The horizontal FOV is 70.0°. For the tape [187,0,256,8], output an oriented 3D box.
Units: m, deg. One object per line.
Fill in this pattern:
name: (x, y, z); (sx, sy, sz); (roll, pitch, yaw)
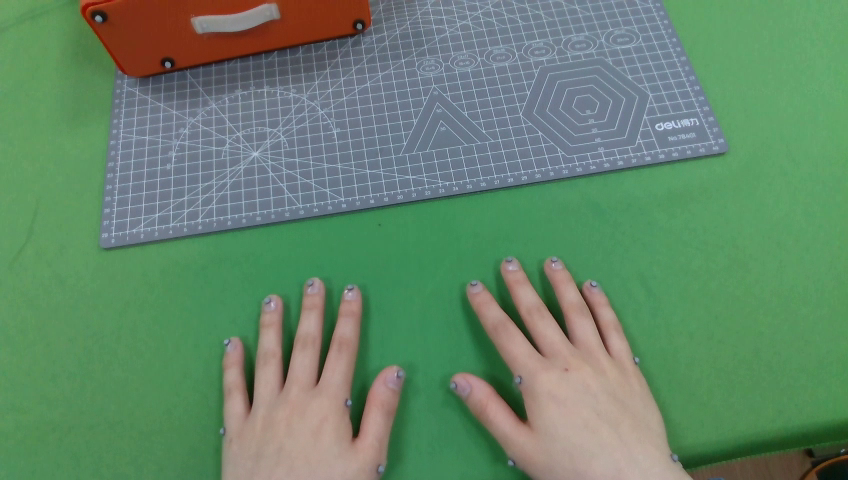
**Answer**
tape: (-0.165, -0.253, 0.504); (0.117, 0.053, 0.116); (-1, 64, 2)

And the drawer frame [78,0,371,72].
drawer frame: (-0.163, -0.255, 0.496); (0.202, 0.083, 0.211); (-14, 63, -4)

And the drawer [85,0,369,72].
drawer: (-0.161, -0.253, 0.495); (0.194, 0.074, 0.210); (-13, 64, -4)
